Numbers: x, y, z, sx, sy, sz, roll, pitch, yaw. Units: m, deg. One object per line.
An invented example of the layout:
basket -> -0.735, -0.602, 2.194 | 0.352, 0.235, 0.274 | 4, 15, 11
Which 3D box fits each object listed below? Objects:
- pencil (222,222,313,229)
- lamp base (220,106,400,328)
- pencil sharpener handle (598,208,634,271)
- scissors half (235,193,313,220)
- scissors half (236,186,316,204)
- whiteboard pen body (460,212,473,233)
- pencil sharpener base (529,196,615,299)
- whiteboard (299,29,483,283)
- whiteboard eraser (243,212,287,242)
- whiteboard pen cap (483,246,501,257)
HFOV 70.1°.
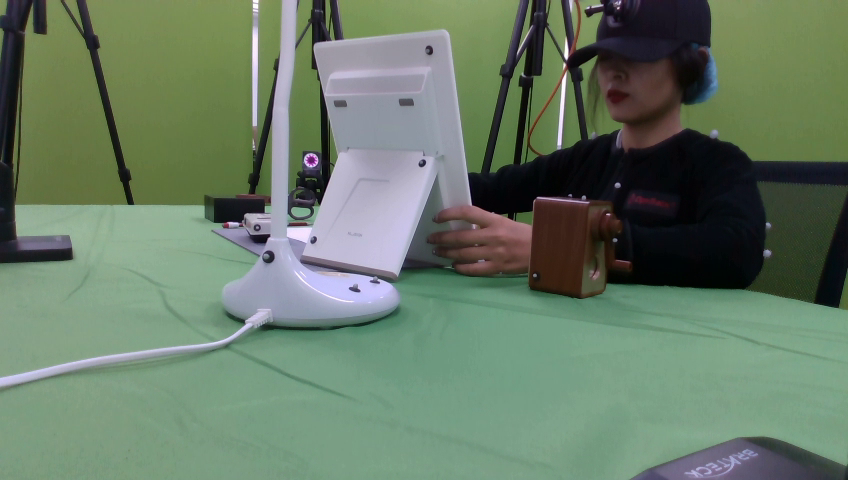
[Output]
pencil -> -0.302, -0.030, 1.189 | 0.195, 0.012, 0.012 | -2, 9, -42
lamp base -> -0.101, -0.023, 0.531 | 0.160, 0.180, 0.179 | 4, 10, 10
pencil sharpener handle -> 0.208, 0.000, 0.644 | 0.030, 0.068, 0.036 | 10, 23, 42
scissors half -> -0.324, -0.077, 1.319 | 0.176, 0.040, 0.012 | 17, 6, -31
scissors half -> -0.320, -0.097, 1.316 | 0.176, 0.040, 0.013 | -3, 11, -29
whiteboard pen body -> 0.064, -0.027, 0.915 | 0.017, 0.017, 0.141 | 3, -8, 3
pencil sharpener base -> 0.168, 0.007, 0.678 | 0.076, 0.107, 0.062 | 10, 10, 42
whiteboard -> -0.074, -0.082, 0.742 | 0.216, 0.305, 0.144 | 9, 29, 37
whiteboard eraser -> -0.260, -0.021, 0.982 | 0.056, 0.042, 0.112 | 0, 8, -23
whiteboard pen cap -> 0.104, 0.017, 0.936 | 0.018, 0.018, 0.033 | -1, 3, -22
